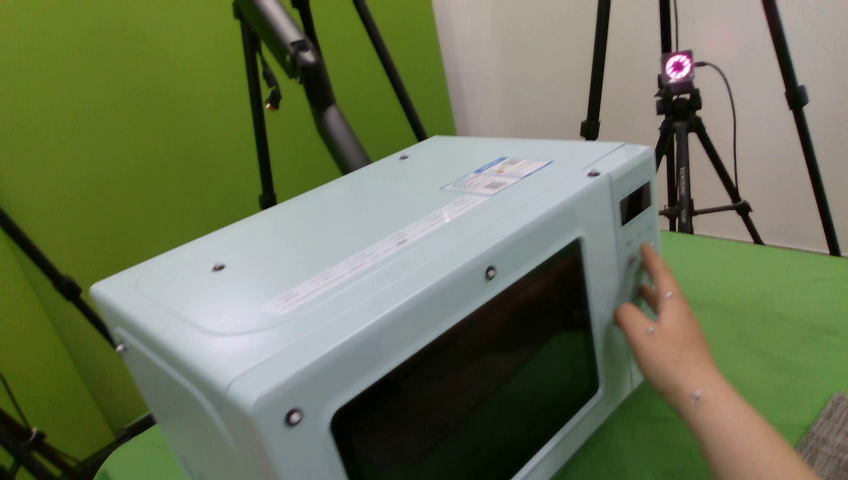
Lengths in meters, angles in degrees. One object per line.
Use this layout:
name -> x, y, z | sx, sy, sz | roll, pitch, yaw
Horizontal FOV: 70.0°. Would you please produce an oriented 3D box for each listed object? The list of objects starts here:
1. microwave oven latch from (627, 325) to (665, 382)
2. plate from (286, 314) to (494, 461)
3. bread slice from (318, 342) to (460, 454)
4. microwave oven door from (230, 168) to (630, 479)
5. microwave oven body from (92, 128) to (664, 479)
microwave oven latch -> 0.226, 0.117, 0.641 | 0.079, 0.030, 0.030 | -30, 29, -33
plate -> -0.031, 0.144, 0.601 | 0.209, 0.038, 0.207 | -12, 23, 6
bread slice -> -0.032, 0.147, 0.606 | 0.131, 0.019, 0.104 | -28, 28, -25
microwave oven door -> 0.047, 0.116, 0.475 | 0.356, 0.245, 0.039 | -30, 29, -35
microwave oven body -> -0.020, 0.082, 0.606 | 0.442, 0.262, 0.323 | -31, 29, -35
